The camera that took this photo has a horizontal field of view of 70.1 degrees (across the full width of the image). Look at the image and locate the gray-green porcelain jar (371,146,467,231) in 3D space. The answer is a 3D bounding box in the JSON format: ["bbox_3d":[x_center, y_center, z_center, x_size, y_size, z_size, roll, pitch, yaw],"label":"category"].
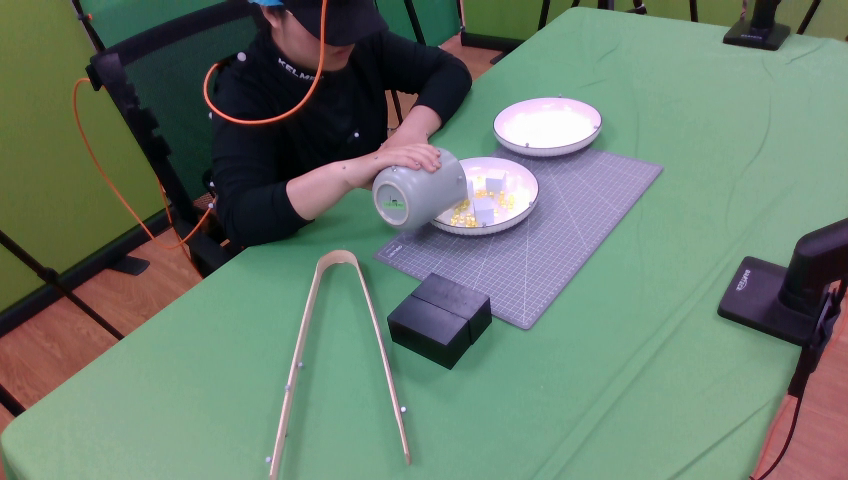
[{"bbox_3d":[-0.011,-0.079,0.947,0.105,0.106,0.127,23,37,32],"label":"gray-green porcelain jar"}]

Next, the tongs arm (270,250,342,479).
[{"bbox_3d":[-0.152,0.148,0.826,0.051,0.026,0.382,-6,39,3],"label":"tongs arm"}]

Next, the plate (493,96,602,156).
[{"bbox_3d":[0.239,-0.218,1.179,0.209,0.038,0.208,-5,39,4],"label":"plate"}]

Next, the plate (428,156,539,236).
[{"bbox_3d":[0.091,-0.072,1.034,0.207,0.039,0.206,-5,40,5],"label":"plate"}]

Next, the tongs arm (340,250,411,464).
[{"bbox_3d":[-0.070,0.136,0.830,0.028,0.028,0.384,-18,40,-6],"label":"tongs arm"}]
